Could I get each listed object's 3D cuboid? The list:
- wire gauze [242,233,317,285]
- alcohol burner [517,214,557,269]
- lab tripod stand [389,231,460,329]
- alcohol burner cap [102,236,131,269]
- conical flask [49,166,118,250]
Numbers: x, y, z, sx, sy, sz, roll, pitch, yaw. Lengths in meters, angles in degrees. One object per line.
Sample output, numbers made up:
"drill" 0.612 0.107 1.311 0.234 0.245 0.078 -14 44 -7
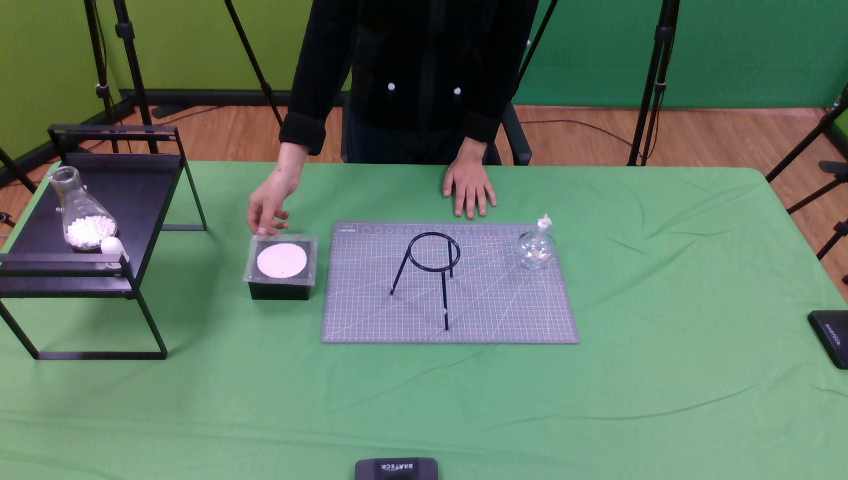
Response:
"wire gauze" -0.257 0.032 1.088 0.125 0.011 0.120 1 44 -5
"alcohol burner" 0.217 -0.002 1.149 0.078 0.120 0.077 2 44 -2
"lab tripod stand" 0.015 0.063 1.058 0.148 0.132 0.147 4 46 -4
"alcohol burner cap" -0.451 0.016 0.883 0.034 0.048 0.033 3 44 -3
"conical flask" -0.505 -0.051 0.888 0.075 0.122 0.075 2 45 -2
